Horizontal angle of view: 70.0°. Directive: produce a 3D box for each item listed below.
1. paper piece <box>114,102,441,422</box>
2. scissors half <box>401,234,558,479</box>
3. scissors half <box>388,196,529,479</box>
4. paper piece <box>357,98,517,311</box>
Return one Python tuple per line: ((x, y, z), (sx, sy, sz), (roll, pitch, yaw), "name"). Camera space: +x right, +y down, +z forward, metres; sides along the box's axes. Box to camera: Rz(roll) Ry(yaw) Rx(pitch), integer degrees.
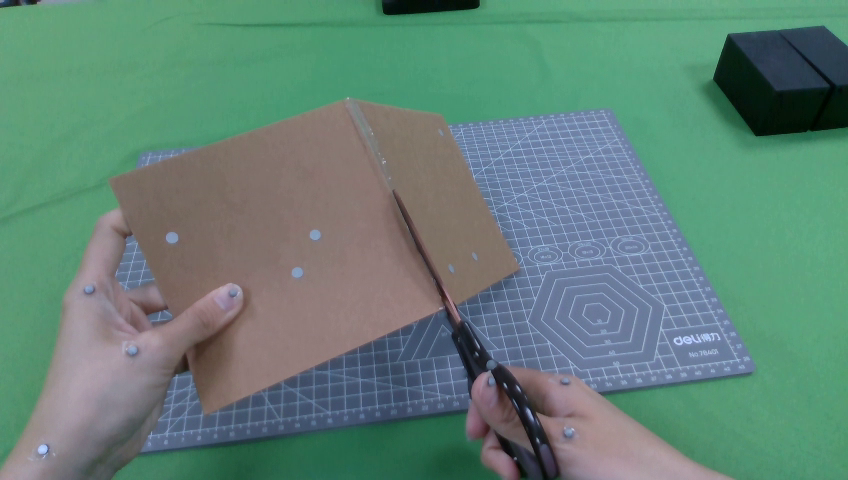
((-0.075, 0.008, 0.330), (0.136, 0.004, 0.135), (-23, 91, -16), "paper piece")
((0.018, 0.047, 0.319), (0.013, 0.040, 0.173), (-26, 59, -12), "scissors half")
((0.017, 0.055, 0.341), (0.013, 0.040, 0.175), (-25, 92, -16), "scissors half")
((0.015, -0.027, 0.405), (0.008, 0.136, 0.138), (-23, -3, 25), "paper piece")
